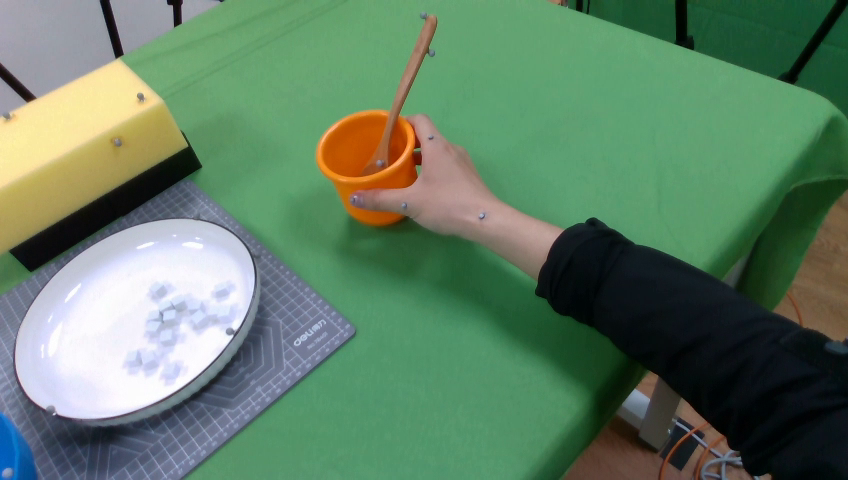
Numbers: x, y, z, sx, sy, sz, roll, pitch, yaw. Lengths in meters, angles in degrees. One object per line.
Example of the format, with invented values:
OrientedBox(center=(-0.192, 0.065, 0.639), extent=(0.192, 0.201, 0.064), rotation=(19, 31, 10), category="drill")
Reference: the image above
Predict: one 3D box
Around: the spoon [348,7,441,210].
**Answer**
OrientedBox(center=(-0.025, -0.116, 0.553), extent=(0.041, 0.194, 0.022), rotation=(33, 22, 25), category="spoon")

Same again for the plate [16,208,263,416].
OrientedBox(center=(-0.241, 0.060, 0.531), extent=(0.209, 0.038, 0.207), rotation=(-4, 51, 5), category="plate")

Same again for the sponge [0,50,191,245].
OrientedBox(center=(-0.359, -0.098, 0.604), extent=(0.207, 0.061, 0.117), rotation=(-37, 55, -22), category="sponge")

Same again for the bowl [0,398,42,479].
OrientedBox(center=(-0.325, 0.186, 0.412), extent=(0.151, 0.077, 0.150), rotation=(-4, 50, 6), category="bowl")
